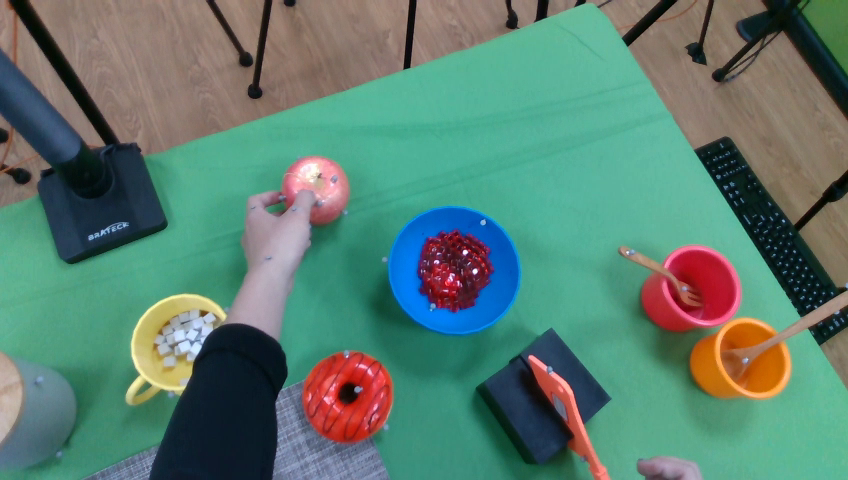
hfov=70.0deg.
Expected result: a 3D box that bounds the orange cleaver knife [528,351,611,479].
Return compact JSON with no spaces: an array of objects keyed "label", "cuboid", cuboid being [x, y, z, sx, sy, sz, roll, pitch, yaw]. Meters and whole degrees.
[{"label":"orange cleaver knife","cuboid":[0.166,0.212,0.660,0.012,0.076,0.212,-31,107,-14]}]

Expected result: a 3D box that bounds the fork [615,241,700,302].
[{"label":"fork","cuboid":[0.274,0.038,0.700,0.209,0.018,0.028,26,61,-43]}]

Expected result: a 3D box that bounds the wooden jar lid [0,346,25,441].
[{"label":"wooden jar lid","cuboid":[-0.401,0.140,0.524,0.108,0.021,0.107,2,70,-5]}]

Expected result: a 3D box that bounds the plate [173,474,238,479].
[{"label":"plate","cuboid":[-0.220,0.338,0.588,0.208,0.039,0.206,2,71,-6]}]

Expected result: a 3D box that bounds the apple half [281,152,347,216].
[{"label":"apple half","cuboid":[-0.124,-0.072,0.726,0.080,0.075,0.053,30,65,8]}]

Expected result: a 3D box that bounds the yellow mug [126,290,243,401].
[{"label":"yellow mug","cuboid":[-0.262,0.121,0.646,0.099,0.064,0.130,40,72,8]}]

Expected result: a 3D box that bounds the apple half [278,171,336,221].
[{"label":"apple half","cuboid":[-0.144,-0.042,0.711,0.081,0.081,0.032,31,66,4]}]

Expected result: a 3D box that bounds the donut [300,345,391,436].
[{"label":"donut","cuboid":[-0.085,0.163,0.661,0.099,0.048,0.098,3,71,-7]}]

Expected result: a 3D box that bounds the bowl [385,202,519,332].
[{"label":"bowl","cuboid":[0.028,0.039,0.704,0.151,0.077,0.150,2,71,-6]}]

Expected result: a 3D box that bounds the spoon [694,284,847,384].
[{"label":"spoon","cuboid":[0.397,0.108,0.690,0.022,0.194,0.041,-7,61,-57]}]

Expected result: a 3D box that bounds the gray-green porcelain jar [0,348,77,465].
[{"label":"gray-green porcelain jar","cuboid":[-0.408,0.161,0.582,0.106,0.127,0.105,2,70,-6]}]
